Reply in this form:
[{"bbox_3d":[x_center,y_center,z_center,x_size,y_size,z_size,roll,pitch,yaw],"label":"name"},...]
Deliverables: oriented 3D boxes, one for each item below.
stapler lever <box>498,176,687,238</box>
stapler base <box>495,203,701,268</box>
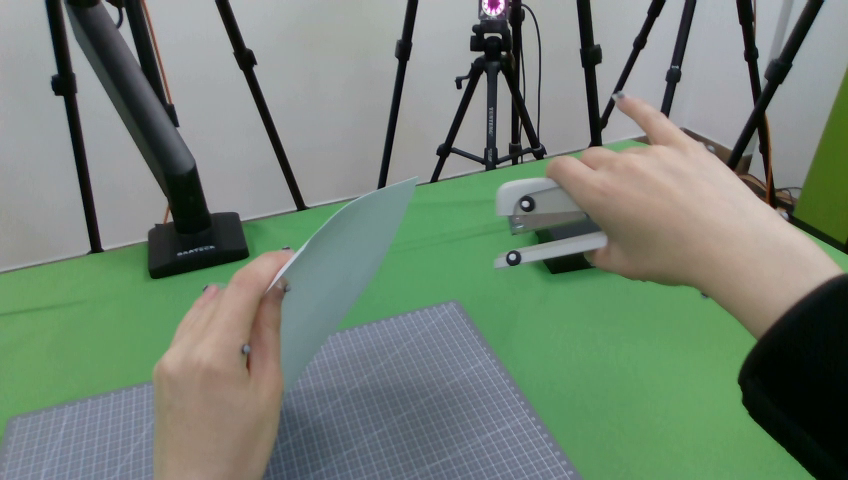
[{"bbox_3d":[0.104,-0.029,0.392,0.118,0.040,0.027,-13,0,26],"label":"stapler lever"},{"bbox_3d":[0.108,-0.005,0.391,0.130,0.024,0.041,-12,0,26],"label":"stapler base"}]
